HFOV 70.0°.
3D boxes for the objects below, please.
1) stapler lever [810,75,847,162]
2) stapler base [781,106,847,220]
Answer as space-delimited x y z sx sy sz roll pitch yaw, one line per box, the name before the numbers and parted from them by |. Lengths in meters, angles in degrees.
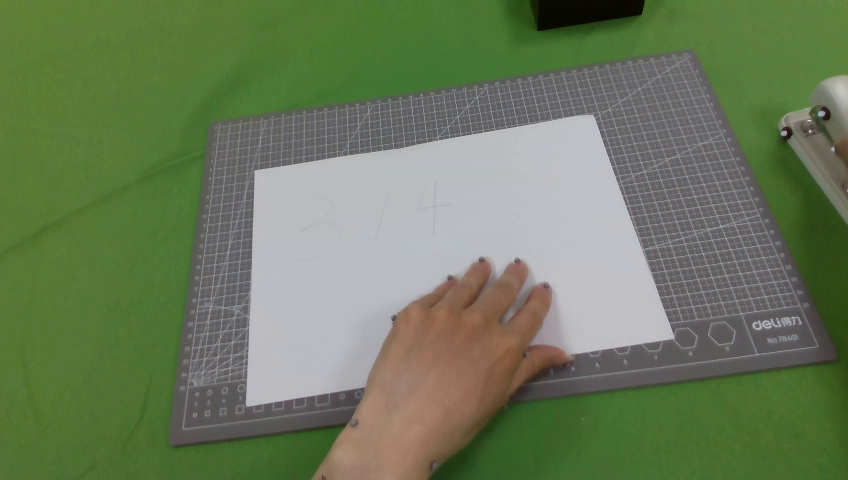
stapler lever | 0.318 -0.068 0.434 0.027 0.040 0.117 -16 60 2
stapler base | 0.321 -0.057 0.456 0.041 0.024 0.129 -16 60 2
